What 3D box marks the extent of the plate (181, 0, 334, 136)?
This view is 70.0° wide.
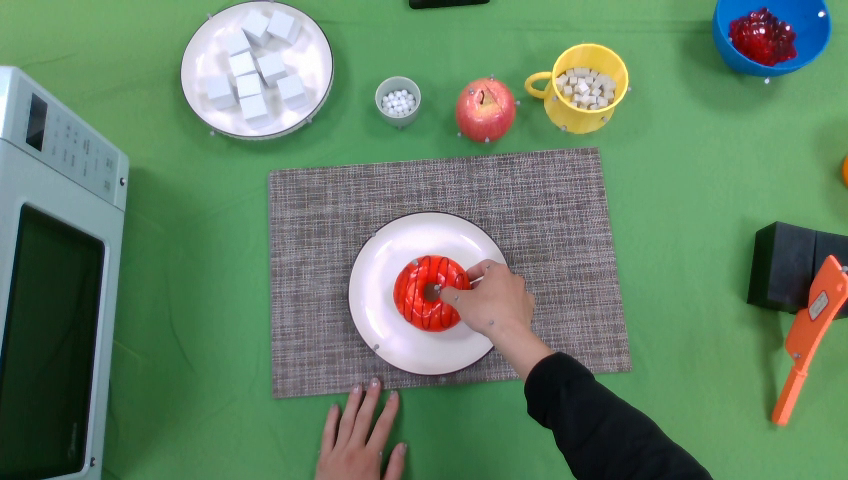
[{"bbox_3d":[-0.226,-0.236,0.838,0.208,0.039,0.206,0,77,0],"label":"plate"}]

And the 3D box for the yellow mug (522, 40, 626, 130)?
[{"bbox_3d":[0.197,-0.209,0.816,0.131,0.064,0.099,6,77,2],"label":"yellow mug"}]

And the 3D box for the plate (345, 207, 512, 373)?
[{"bbox_3d":[0.006,0.062,0.764,0.209,0.038,0.208,0,77,0],"label":"plate"}]

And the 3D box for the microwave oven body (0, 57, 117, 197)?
[{"bbox_3d":[-0.551,0.065,0.650,0.326,0.261,0.439,-1,77,-1],"label":"microwave oven body"}]

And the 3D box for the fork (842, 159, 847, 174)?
[{"bbox_3d":[0.641,-0.108,0.748,0.206,0.019,0.028,-8,69,43],"label":"fork"}]

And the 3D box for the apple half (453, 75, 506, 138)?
[{"bbox_3d":[0.066,-0.169,0.804,0.053,0.075,0.080,-31,82,-2],"label":"apple half"}]

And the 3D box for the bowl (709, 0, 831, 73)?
[{"bbox_3d":[0.455,-0.286,0.827,0.151,0.077,0.150,0,77,1],"label":"bowl"}]

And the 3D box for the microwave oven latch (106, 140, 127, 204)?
[{"bbox_3d":[-0.405,-0.087,0.784,0.030,0.029,0.079,0,77,0],"label":"microwave oven latch"}]

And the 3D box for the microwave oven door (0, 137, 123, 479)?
[{"bbox_3d":[-0.404,0.101,0.636,0.039,0.245,0.354,-2,76,0],"label":"microwave oven door"}]

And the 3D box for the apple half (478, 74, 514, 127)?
[{"bbox_3d":[0.100,-0.189,0.808,0.033,0.081,0.081,-31,78,-2],"label":"apple half"}]

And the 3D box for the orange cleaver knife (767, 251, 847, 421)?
[{"bbox_3d":[0.453,0.117,0.728,0.012,0.077,0.212,14,109,6],"label":"orange cleaver knife"}]

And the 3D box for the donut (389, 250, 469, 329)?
[{"bbox_3d":[0.006,0.061,0.748,0.099,0.048,0.099,0,88,6],"label":"donut"}]

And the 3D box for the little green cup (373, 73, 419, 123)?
[{"bbox_3d":[-0.037,-0.192,0.827,0.061,0.039,0.061,0,77,1],"label":"little green cup"}]
